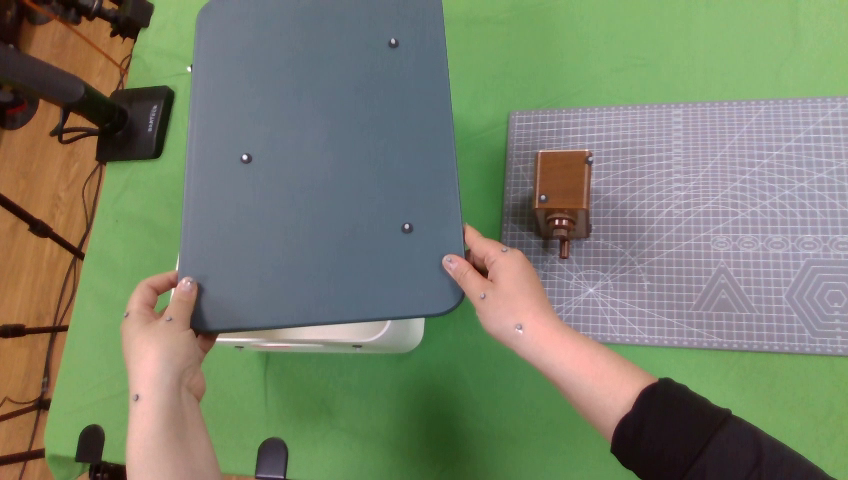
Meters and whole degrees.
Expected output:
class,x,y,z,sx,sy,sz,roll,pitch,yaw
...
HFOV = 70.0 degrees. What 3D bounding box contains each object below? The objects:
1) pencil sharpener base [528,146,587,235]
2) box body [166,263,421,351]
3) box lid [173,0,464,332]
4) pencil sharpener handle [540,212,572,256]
class,x,y,z,sx,sy,sz,roll,pitch,yaw
pencil sharpener base,0.154,-0.051,0.691,0.061,0.108,0.076,1,74,15
box body,-0.130,-0.048,0.739,0.253,0.161,0.362,-2,73,14
box lid,-0.105,-0.101,0.594,0.263,0.015,0.369,-5,72,-1
pencil sharpener handle,0.150,-0.006,0.665,0.036,0.068,0.030,-3,72,28
